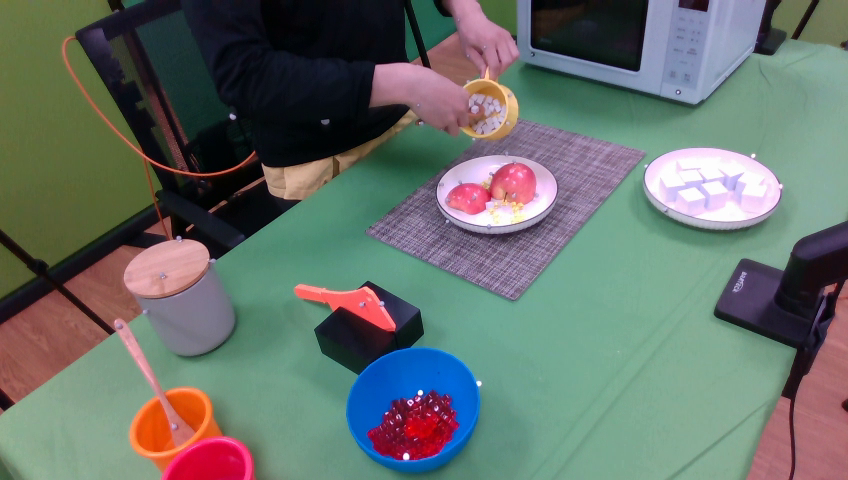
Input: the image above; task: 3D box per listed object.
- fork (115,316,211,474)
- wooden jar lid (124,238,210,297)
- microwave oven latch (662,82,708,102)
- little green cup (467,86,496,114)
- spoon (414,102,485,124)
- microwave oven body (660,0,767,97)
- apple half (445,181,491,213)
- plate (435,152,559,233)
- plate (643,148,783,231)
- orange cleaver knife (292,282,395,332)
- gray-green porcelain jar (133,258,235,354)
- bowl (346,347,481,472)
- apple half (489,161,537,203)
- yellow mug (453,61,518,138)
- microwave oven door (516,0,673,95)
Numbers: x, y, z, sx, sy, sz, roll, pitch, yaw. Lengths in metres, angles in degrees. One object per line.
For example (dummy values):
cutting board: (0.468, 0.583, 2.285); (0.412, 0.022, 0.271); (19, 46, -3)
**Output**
fork: (-0.308, 0.179, 0.708); (0.028, 0.018, 0.207); (-30, 89, -22)
wooden jar lid: (-0.335, 0.039, 0.794); (0.108, 0.021, 0.108); (-2, 40, 2)
microwave oven latch: (0.518, -0.298, 1.203); (0.078, 0.029, 0.030); (28, 53, 35)
little green cup: (0.123, -0.297, 1.285); (0.061, 0.039, 0.061); (-6, 41, 6)
spoon: (0.042, -0.212, 1.004); (0.041, 0.021, 0.195); (23, 27, 30)
microwave oven body: (0.474, -0.517, 1.313); (0.438, 0.261, 0.327); (26, 51, 34)
apple half: (0.076, -0.083, 1.029); (0.081, 0.033, 0.081); (-2, 42, 2)
plate: (0.124, -0.078, 1.026); (0.209, 0.038, 0.208); (-4, 40, 4)
plate: (0.464, -0.080, 0.986); (0.207, 0.039, 0.206); (-4, 41, 4)
orange cleaver knife: (-0.116, 0.091, 0.835); (0.209, 0.077, 0.012); (2, 32, 48)
gray-green porcelain jar: (-0.327, 0.086, 0.836); (0.106, 0.127, 0.105); (-4, 41, 4)
bowl: (-0.008, 0.205, 0.691); (0.151, 0.077, 0.150); (-4, 40, 4)
apple half: (0.154, -0.106, 1.030); (0.080, 0.053, 0.075); (22, 46, 31)
yellow mug: (0.111, -0.247, 1.059); (0.099, 0.131, 0.064); (11, 9, 21)
microwave oven door: (0.344, -0.458, 1.257); (0.353, 0.245, 0.039); (26, 51, 33)
